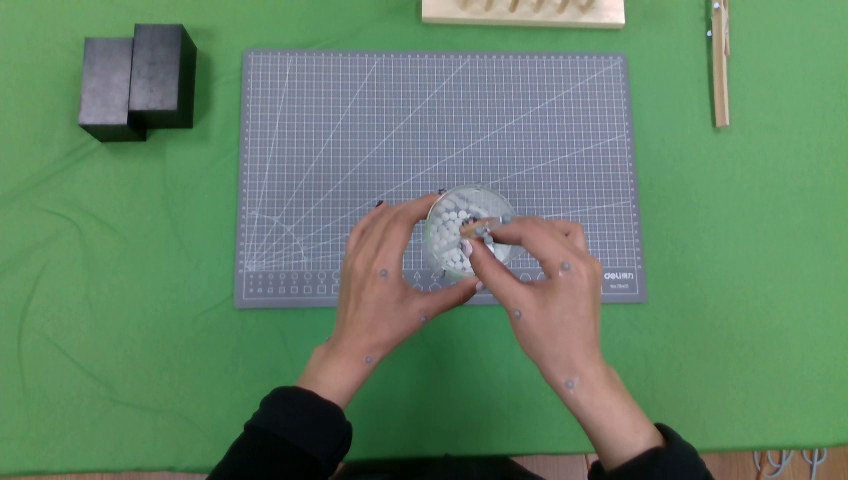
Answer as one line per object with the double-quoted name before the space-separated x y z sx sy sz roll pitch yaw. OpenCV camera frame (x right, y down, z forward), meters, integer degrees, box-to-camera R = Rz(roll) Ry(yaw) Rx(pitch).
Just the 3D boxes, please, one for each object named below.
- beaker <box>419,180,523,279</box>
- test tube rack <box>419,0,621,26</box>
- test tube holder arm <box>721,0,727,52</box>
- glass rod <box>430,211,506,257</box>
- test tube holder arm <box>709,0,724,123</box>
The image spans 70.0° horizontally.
"beaker" 0.035 -0.003 0.519 0.084 0.100 0.074 18 82 -2
"test tube rack" 0.117 -0.302 0.694 0.242 0.085 0.066 1 79 -3
"test tube holder arm" 0.359 -0.268 0.736 0.010 0.015 0.087 12 77 -31
"glass rod" 0.027 0.000 0.453 0.008 0.199 0.008 2 82 -11
"test tube holder arm" 0.351 -0.225 0.725 0.013 0.015 0.177 11 78 -31
